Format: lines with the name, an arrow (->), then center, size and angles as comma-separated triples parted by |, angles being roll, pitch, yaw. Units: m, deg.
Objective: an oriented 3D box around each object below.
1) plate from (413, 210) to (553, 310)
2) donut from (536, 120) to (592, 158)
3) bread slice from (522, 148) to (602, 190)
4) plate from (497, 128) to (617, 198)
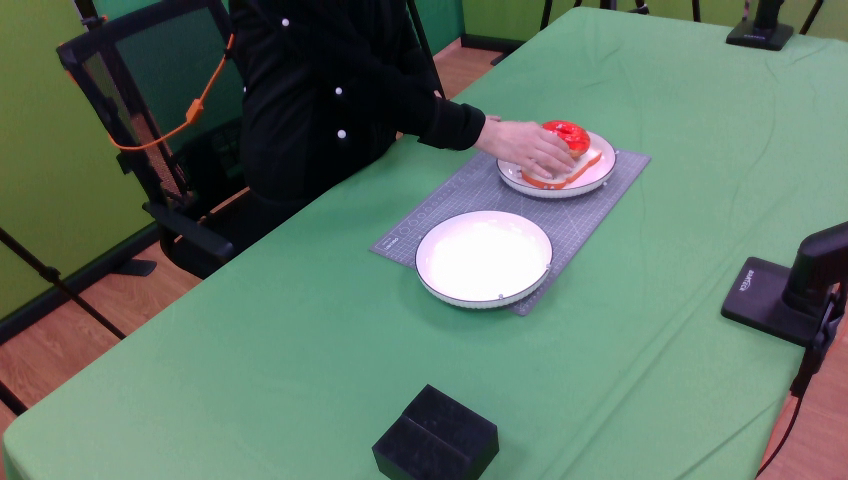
plate -> 0.089, 0.033, 0.914 | 0.207, 0.039, 0.206 | -5, 40, 5
donut -> 0.247, -0.177, 1.064 | 0.099, 0.048, 0.098 | 7, 34, -4
bread slice -> 0.242, -0.136, 1.086 | 0.106, 0.018, 0.134 | 23, 50, 33
plate -> 0.236, -0.136, 1.085 | 0.209, 0.038, 0.208 | -5, 40, 5
